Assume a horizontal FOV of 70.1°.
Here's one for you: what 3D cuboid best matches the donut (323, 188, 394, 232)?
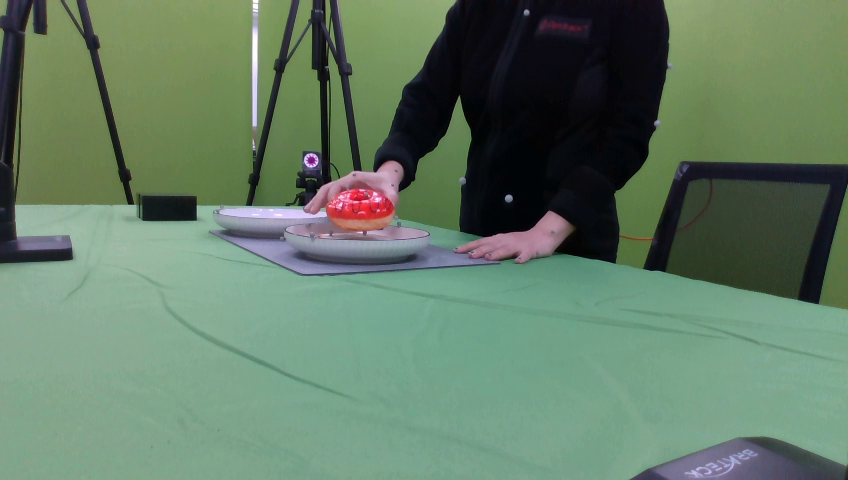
[{"bbox_3d":[-0.091,-0.043,0.850,0.099,0.048,0.099,3,23,-1],"label":"donut"}]

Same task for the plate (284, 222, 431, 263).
[{"bbox_3d":[-0.094,0.003,0.868,0.209,0.038,0.209,2,7,0],"label":"plate"}]

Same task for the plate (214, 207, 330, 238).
[{"bbox_3d":[-0.268,-0.032,1.084,0.208,0.039,0.207,2,7,0],"label":"plate"}]

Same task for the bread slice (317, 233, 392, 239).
[{"bbox_3d":[-0.097,0.004,0.863,0.107,0.018,0.133,0,7,-31],"label":"bread slice"}]
